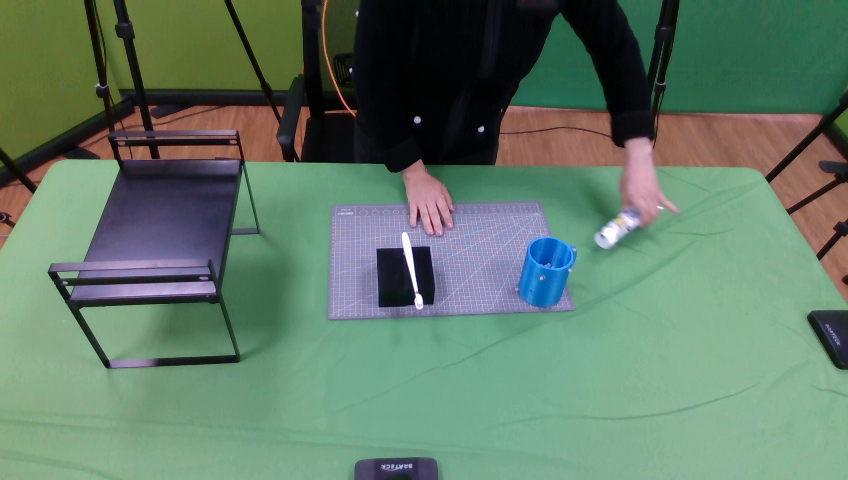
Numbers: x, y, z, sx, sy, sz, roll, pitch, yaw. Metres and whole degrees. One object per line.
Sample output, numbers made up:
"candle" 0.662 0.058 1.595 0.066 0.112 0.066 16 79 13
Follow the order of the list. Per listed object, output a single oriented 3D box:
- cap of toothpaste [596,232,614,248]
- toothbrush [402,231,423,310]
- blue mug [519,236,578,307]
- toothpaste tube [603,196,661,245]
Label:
"cap of toothpaste" 0.355 -0.002 1.188 0.011 0.037 0.037 -36 58 -29
"toothbrush" -0.022 0.049 1.080 0.014 0.017 0.180 -9 47 -5
"blue mug" 0.234 0.052 1.102 0.116 0.106 0.082 -23 52 -24
"toothpaste tube" 0.414 -0.040 1.225 0.165 0.035 0.055 -35 58 -28
